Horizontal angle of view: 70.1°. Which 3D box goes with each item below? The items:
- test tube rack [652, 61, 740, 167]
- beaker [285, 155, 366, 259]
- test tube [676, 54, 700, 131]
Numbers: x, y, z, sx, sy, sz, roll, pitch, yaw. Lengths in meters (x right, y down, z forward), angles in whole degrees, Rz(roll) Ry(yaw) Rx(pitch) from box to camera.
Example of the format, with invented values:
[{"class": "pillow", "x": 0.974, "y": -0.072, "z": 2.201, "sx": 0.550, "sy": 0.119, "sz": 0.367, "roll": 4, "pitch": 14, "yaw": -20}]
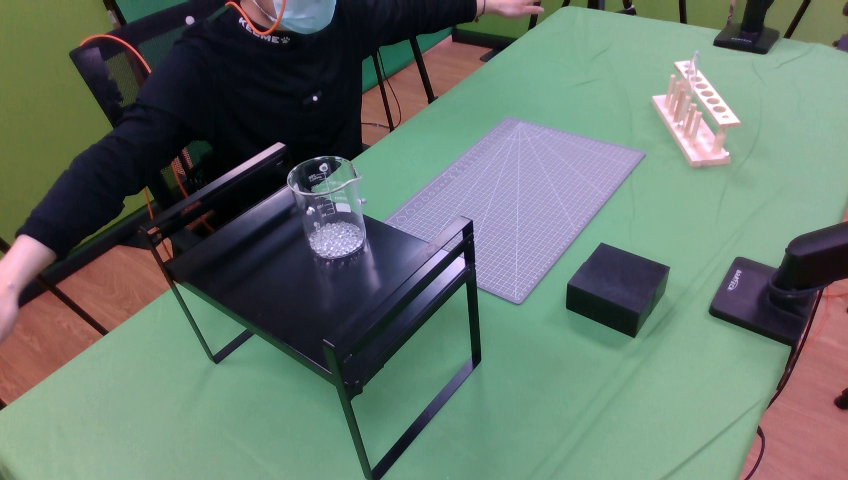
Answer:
[{"class": "test tube rack", "x": 0.499, "y": -0.242, "z": 1.130, "sx": 0.067, "sy": 0.085, "sz": 0.241, "roll": -5, "pitch": 41, "yaw": 3}, {"class": "beaker", "x": -0.105, "y": -0.035, "z": 0.690, "sx": 0.084, "sy": 0.101, "sz": 0.073, "roll": -4, "pitch": 41, "yaw": 3}, {"class": "test tube", "x": 0.475, "y": -0.263, "z": 1.088, "sx": 0.017, "sy": 0.151, "sz": 0.017, "roll": -4, "pitch": 43, "yaw": 4}]
